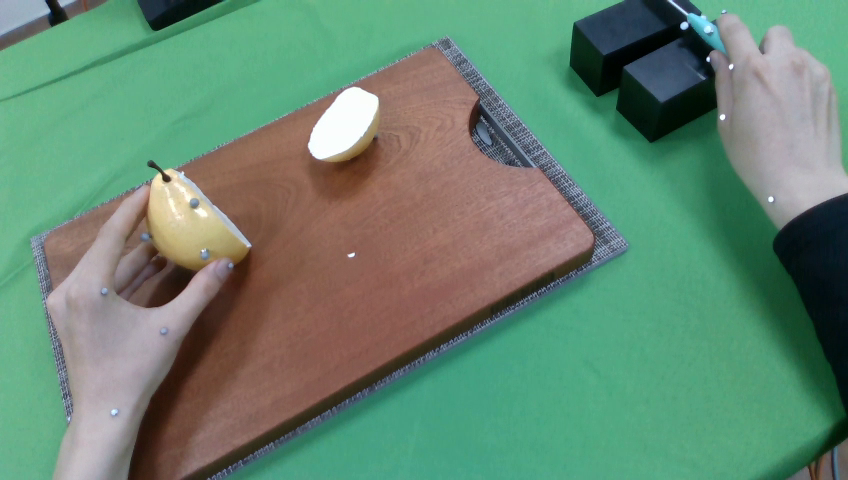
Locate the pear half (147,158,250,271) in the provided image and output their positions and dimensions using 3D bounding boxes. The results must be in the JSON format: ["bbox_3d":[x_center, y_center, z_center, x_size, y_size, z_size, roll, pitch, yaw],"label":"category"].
[{"bbox_3d":[-0.182,-0.017,0.453,0.056,0.111,0.075,-44,55,-16],"label":"pear half"}]

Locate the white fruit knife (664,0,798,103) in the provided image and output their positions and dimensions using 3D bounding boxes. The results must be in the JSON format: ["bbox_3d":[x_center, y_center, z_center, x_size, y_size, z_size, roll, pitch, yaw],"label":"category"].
[{"bbox_3d":[0.230,-0.181,0.509,0.016,0.028,0.205,-48,53,23],"label":"white fruit knife"}]

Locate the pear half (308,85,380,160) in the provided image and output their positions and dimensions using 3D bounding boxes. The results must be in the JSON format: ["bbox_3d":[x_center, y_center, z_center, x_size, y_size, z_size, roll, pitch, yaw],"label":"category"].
[{"bbox_3d":[-0.064,-0.098,0.526,0.070,0.031,0.087,-12,44,20],"label":"pear half"}]
